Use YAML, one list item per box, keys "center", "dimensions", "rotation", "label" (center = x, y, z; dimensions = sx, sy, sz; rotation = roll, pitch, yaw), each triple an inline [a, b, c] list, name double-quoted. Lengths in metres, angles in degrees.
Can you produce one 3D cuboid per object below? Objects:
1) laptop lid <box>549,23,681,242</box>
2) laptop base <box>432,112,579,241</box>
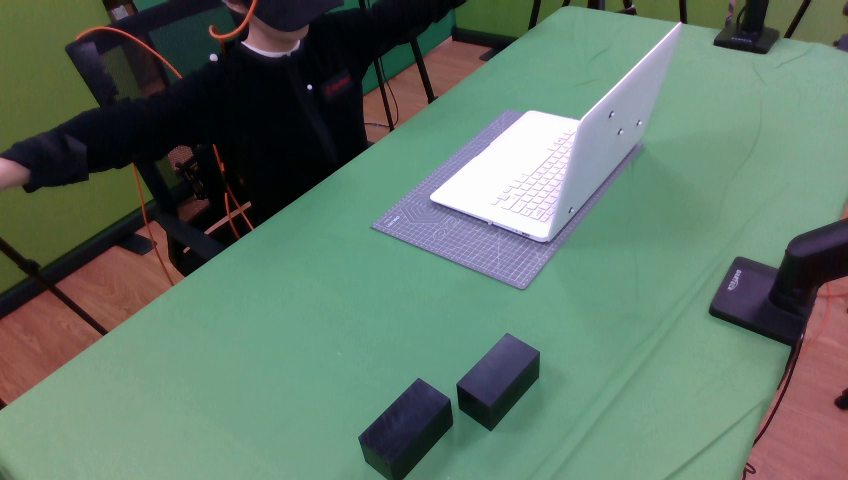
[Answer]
- center: [0.304, -0.172, 0.951]
  dimensions: [0.013, 0.242, 0.358]
  rotation: [30, 51, 24]
  label: "laptop lid"
- center: [0.208, -0.129, 1.098]
  dimensions: [0.233, 0.023, 0.355]
  rotation: [20, 47, 34]
  label: "laptop base"
